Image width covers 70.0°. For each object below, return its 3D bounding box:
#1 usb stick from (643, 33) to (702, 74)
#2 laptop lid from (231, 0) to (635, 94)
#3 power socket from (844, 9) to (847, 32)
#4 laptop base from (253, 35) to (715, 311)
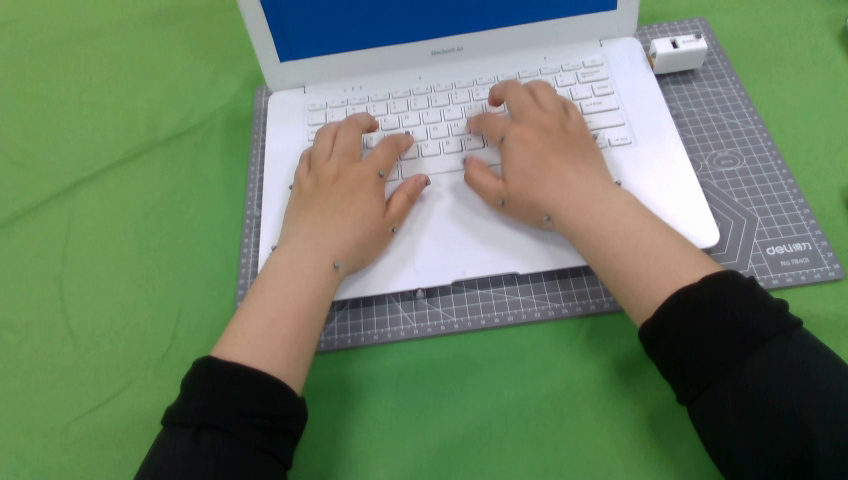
[{"bbox_3d":[0.215,-0.166,0.543,0.059,0.027,0.021,-8,56,6],"label":"usb stick"},{"bbox_3d":[0.005,-0.247,0.501,0.356,0.244,0.013,-10,44,3],"label":"laptop lid"},{"bbox_3d":[0.425,-0.133,0.499,0.072,0.033,0.224,-5,57,5],"label":"power socket"},{"bbox_3d":[0.033,-0.066,0.518,0.354,0.023,0.233,-9,60,2],"label":"laptop base"}]
